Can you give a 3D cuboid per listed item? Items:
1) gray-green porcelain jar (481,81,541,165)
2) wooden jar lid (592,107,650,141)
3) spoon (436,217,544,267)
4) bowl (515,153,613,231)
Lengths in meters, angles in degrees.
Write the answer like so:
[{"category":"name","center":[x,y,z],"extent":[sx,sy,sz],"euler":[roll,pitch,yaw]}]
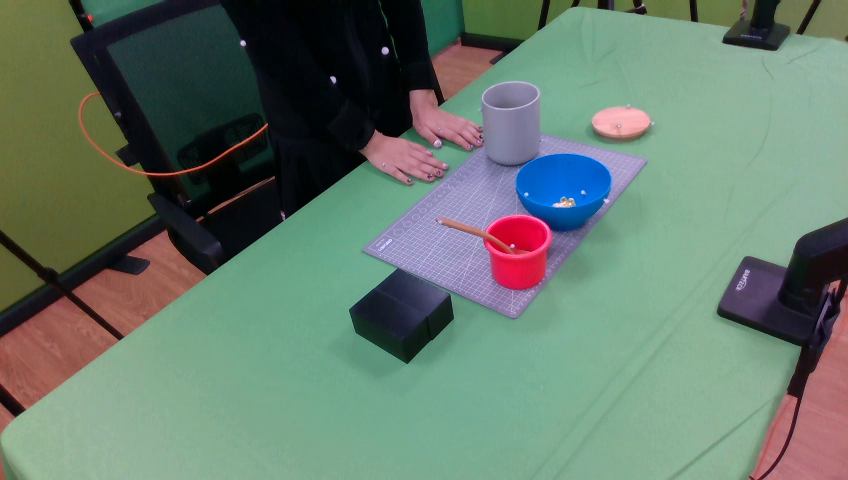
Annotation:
[{"category":"gray-green porcelain jar","center":[0.162,-0.212,1.117],"extent":[0.106,0.127,0.105],"euler":[-5,40,5]},{"category":"wooden jar lid","center":[0.382,-0.225,1.178],"extent":[0.108,0.021,0.108],"euler":[-5,40,4]},{"category":"spoon","center":[0.097,0.001,0.864],"extent":[0.195,0.021,0.041],"euler":[25,24,-30]},{"category":"bowl","center":[0.224,-0.068,0.972],"extent":[0.151,0.077,0.150],"euler":[-5,40,5]}]
